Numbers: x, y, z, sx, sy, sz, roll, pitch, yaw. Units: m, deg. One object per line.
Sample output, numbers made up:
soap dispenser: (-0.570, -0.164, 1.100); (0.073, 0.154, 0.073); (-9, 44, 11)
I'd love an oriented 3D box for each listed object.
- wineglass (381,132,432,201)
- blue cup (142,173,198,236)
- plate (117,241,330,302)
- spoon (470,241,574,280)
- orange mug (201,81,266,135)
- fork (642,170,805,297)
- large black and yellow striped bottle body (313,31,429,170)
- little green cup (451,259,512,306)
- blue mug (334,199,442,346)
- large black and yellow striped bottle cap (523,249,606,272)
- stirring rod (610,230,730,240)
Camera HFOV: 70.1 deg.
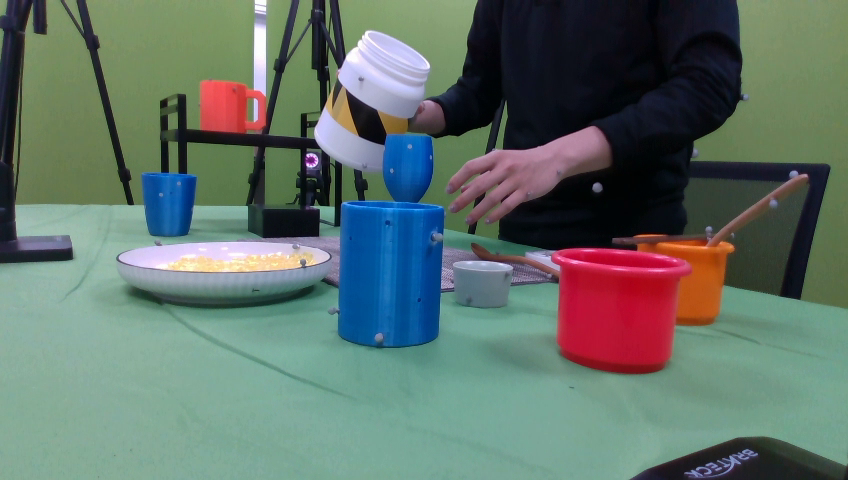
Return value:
wineglass: (-0.026, -0.062, 0.841); (0.074, 0.172, 0.073); (2, 8, 0)
blue cup: (-0.425, -0.060, 1.014); (0.093, 0.100, 0.092); (4, 9, 0)
plate: (-0.203, 0.031, 0.630); (0.209, 0.038, 0.209); (3, 7, 0)
spoon: (0.125, 0.025, 0.800); (0.042, 0.021, 0.192); (21, -5, -34)
orange mug: (-0.377, -0.260, 1.198); (0.126, 0.101, 0.083); (-3, 8, -6)
fork: (0.261, 0.004, 0.545); (0.028, 0.018, 0.207); (5, -37, -16)
large black and yellow striped bottle body: (-0.081, -0.216, 0.942); (0.131, 0.183, 0.130); (24, 28, -13)
little green cup: (0.057, 0.043, 0.611); (0.061, 0.038, 0.061); (3, 8, 0)
blue mug: (-0.034, 0.020, 0.498); (0.083, 0.106, 0.116); (0, 7, -20)
large black and yellow striped bottle cap: (0.198, 0.028, 0.851); (0.115, 0.019, 0.115); (5, 5, 0)
stirring rod: (0.241, -0.005, 0.581); (0.177, 0.006, 0.014); (-2, 10, -34)
